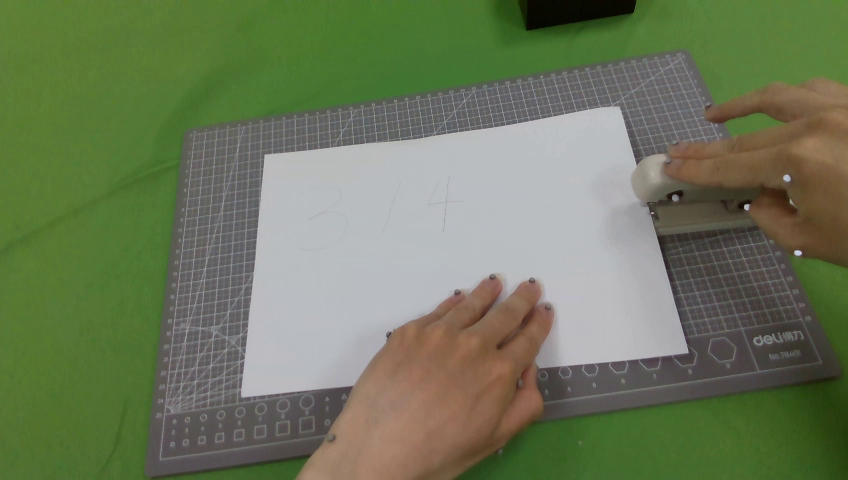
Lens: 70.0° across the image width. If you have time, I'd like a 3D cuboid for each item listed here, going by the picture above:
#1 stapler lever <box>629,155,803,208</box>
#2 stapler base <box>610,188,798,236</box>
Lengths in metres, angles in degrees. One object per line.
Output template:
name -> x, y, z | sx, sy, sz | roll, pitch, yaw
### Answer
stapler lever -> 0.203, -0.043, 0.419 | 0.118, 0.040, 0.026 | -6, 61, 3
stapler base -> 0.204, -0.030, 0.440 | 0.130, 0.024, 0.041 | -5, 61, 1
